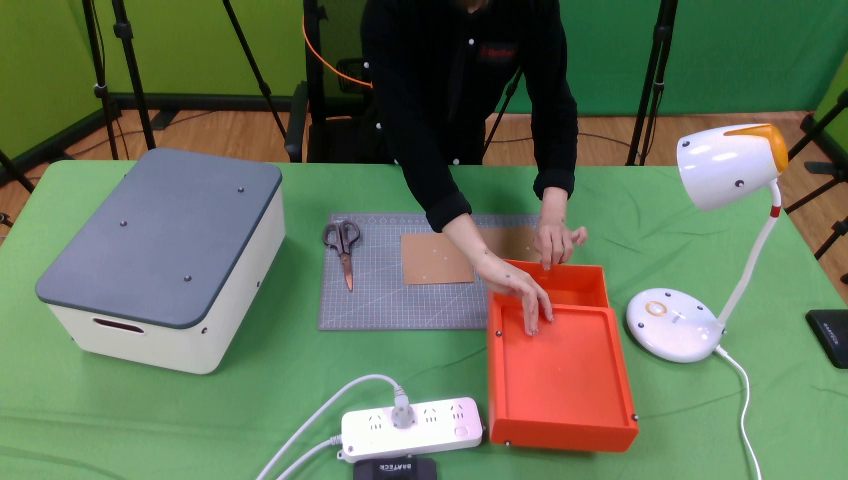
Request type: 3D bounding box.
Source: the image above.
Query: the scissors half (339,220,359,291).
[{"bbox_3d":[-0.144,0.026,1.162,0.040,0.013,0.174,-7,50,1],"label":"scissors half"}]

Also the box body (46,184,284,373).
[{"bbox_3d":[-0.414,0.029,1.039,0.254,0.161,0.362,10,46,5],"label":"box body"}]

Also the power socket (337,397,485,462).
[{"bbox_3d":[-0.018,0.285,0.915,0.227,0.033,0.071,-5,46,-8],"label":"power socket"}]

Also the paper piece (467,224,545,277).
[{"bbox_3d":[0.163,0.019,1.199,0.136,0.009,0.137,-2,46,-9],"label":"paper piece"}]

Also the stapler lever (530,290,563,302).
[{"bbox_3d":[0.230,0.118,0.995,0.118,0.040,0.027,21,24,10],"label":"stapler lever"}]

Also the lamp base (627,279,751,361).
[{"bbox_3d":[0.460,0.100,1.027,0.178,0.181,0.160,27,51,17],"label":"lamp base"}]

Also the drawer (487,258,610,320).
[{"bbox_3d":[0.204,0.133,0.986,0.194,0.073,0.210,5,46,0],"label":"drawer"}]

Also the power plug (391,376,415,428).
[{"bbox_3d":[-0.031,0.249,0.917,0.035,0.053,0.072,3,46,-1],"label":"power plug"}]

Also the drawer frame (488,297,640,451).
[{"bbox_3d":[0.201,0.198,0.919,0.202,0.083,0.212,4,46,0],"label":"drawer frame"}]

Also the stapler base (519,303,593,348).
[{"bbox_3d":[0.223,0.135,1.002,0.130,0.024,0.041,27,24,7],"label":"stapler base"}]

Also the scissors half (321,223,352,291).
[{"bbox_3d":[-0.163,0.031,1.160,0.040,0.013,0.174,-17,51,-14],"label":"scissors half"}]

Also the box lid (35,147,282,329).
[{"bbox_3d":[-0.411,-0.023,0.987,0.263,0.015,0.369,10,47,5],"label":"box lid"}]

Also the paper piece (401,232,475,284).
[{"bbox_3d":[0.025,0.032,1.175,0.135,0.004,0.135,-1,46,-5],"label":"paper piece"}]

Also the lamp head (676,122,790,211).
[{"bbox_3d":[0.423,-0.104,0.819,0.122,0.113,0.112,-13,33,40],"label":"lamp head"}]
